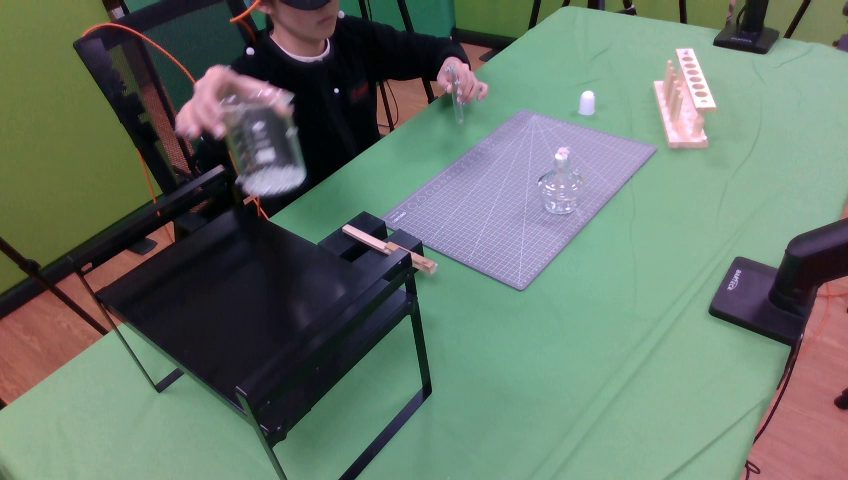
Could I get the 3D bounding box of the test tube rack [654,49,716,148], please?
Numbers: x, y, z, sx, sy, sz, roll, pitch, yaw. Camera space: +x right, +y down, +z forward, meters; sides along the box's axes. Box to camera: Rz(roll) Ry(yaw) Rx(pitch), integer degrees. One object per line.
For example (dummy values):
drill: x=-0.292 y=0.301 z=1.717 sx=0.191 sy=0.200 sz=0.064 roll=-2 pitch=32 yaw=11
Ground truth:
test tube rack: x=0.502 y=-0.281 z=1.176 sx=0.066 sy=0.085 sz=0.241 roll=2 pitch=41 yaw=11

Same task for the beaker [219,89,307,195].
beaker: x=-0.169 y=-0.107 z=0.661 sx=0.084 sy=0.100 sz=0.073 roll=-22 pitch=30 yaw=-26

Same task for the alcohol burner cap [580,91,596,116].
alcohol burner cap: x=0.338 y=-0.283 z=1.238 sx=0.034 sy=0.048 sz=0.033 roll=-5 pitch=42 yaw=5

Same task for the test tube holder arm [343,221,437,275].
test tube holder arm: x=-0.053 y=0.009 z=0.900 sx=0.177 sy=0.013 sz=0.015 roll=26 pitch=56 yaw=31

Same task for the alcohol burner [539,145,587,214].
alcohol burner: x=0.226 y=-0.102 z=0.986 sx=0.078 sy=0.119 sz=0.077 roll=-6 pitch=41 yaw=6

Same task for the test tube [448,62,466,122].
test tube: x=0.063 y=-0.270 z=1.120 sx=0.017 sy=0.151 sz=0.017 roll=-5 pitch=60 yaw=9

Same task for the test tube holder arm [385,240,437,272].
test tube holder arm: x=-0.020 y=0.022 z=0.873 sx=0.087 sy=0.010 sz=0.015 roll=25 pitch=56 yaw=32
